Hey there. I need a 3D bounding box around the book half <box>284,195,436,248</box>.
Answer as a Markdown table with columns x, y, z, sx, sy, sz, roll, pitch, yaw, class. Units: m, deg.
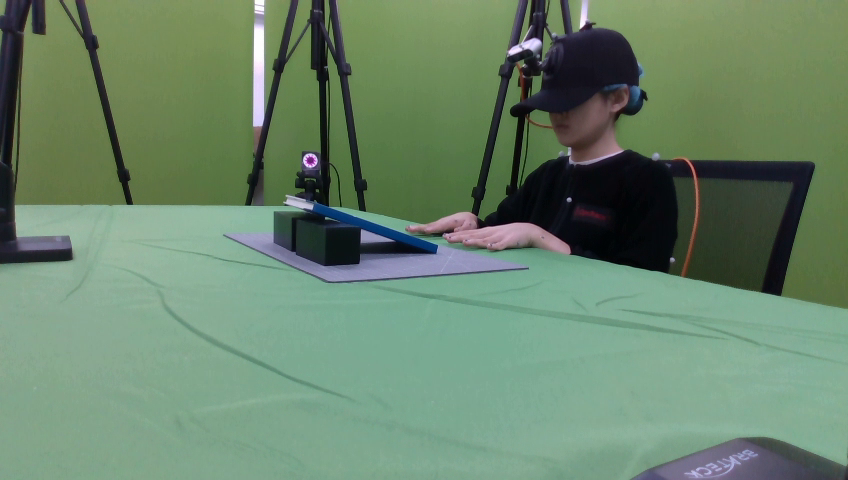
| x | y | z | sx | sy | sz | roll | pitch | yaw | class |
| --- | --- | --- | --- | --- | --- | --- | --- | --- | --- |
| -0.100 | -0.028 | 0.934 | 0.211 | 0.007 | 0.142 | 19 | -1 | -29 | book half |
